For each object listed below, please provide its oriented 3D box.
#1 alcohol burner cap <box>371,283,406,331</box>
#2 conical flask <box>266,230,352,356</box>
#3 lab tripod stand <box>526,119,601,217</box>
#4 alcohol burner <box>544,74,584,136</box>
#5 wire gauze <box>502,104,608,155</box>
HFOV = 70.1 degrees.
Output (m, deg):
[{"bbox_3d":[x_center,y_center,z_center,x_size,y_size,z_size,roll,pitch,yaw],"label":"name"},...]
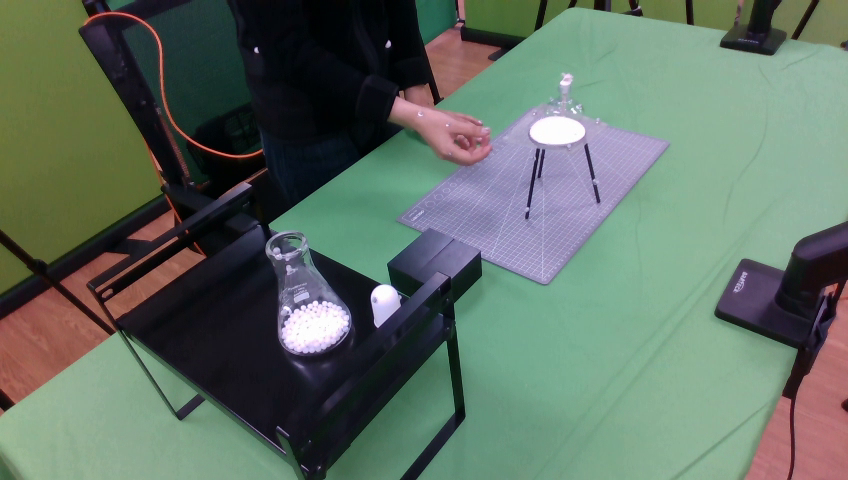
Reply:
[{"bbox_3d":[-0.037,0.065,0.608,0.034,0.048,0.033,-5,39,5],"label":"alcohol burner cap"},{"bbox_3d":[-0.116,0.047,0.580,0.075,0.122,0.075,-5,40,4],"label":"conical flask"},{"bbox_3d":[0.221,-0.121,0.995,0.148,0.132,0.147,-3,39,3],"label":"lab tripod stand"},{"bbox_3d":[0.270,-0.263,1.169,0.078,0.119,0.077,-6,39,5],"label":"alcohol burner"},{"bbox_3d":[0.207,-0.173,0.953,0.120,0.011,0.125,24,48,31],"label":"wire gauze"}]
